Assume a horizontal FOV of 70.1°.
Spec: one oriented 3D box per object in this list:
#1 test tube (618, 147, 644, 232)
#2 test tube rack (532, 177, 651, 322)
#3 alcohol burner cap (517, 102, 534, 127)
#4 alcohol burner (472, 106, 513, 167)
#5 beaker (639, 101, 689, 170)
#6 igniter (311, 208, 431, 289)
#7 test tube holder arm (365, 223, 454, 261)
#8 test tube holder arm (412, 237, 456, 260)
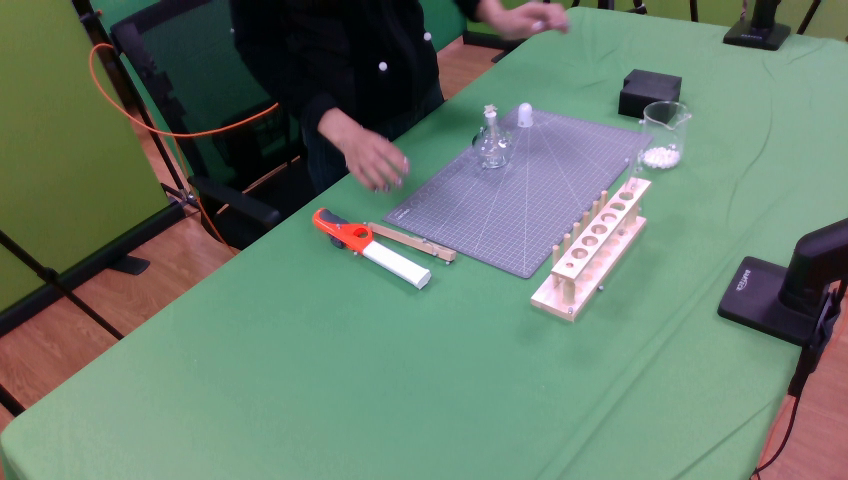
[{"bbox_3d":[0.301,-0.070,0.881,0.017,0.151,0.017,-3,43,3],"label":"test tube"},{"bbox_3d":[0.247,0.002,0.883,0.066,0.085,0.243,23,49,32],"label":"test tube rack"},{"bbox_3d":[0.205,-0.255,1.223,0.034,0.048,0.033,-6,40,6],"label":"alcohol burner cap"},{"bbox_3d":[0.125,-0.195,1.111,0.078,0.119,0.077,-5,42,5],"label":"alcohol burner"},{"bbox_3d":[0.416,-0.178,1.053,0.074,0.101,0.083,-4,41,7],"label":"beaker"},{"bbox_3d":[-0.096,0.008,0.986,0.274,0.025,0.057,28,62,36],"label":"igniter"},{"bbox_3d":[-0.027,0.001,0.985,0.177,0.015,0.013,19,13,30],"label":"test tube holder arm"},{"bbox_3d":[0.013,0.013,0.968,0.087,0.015,0.010,19,13,30],"label":"test tube holder arm"}]
